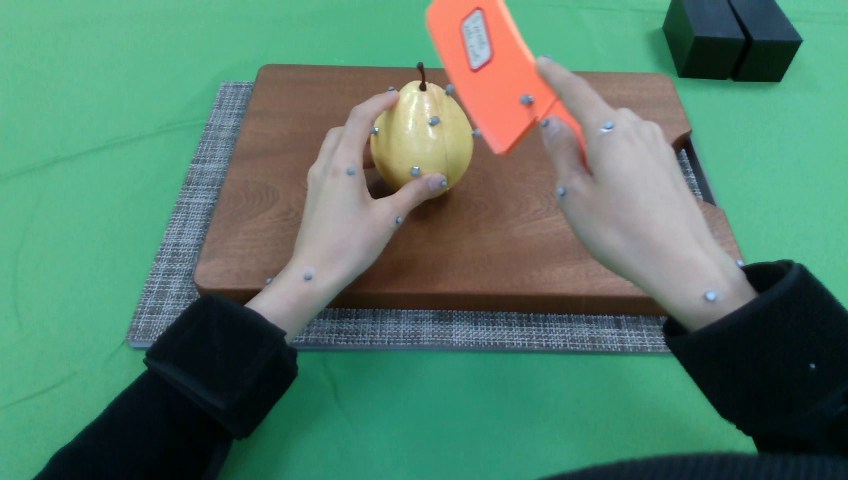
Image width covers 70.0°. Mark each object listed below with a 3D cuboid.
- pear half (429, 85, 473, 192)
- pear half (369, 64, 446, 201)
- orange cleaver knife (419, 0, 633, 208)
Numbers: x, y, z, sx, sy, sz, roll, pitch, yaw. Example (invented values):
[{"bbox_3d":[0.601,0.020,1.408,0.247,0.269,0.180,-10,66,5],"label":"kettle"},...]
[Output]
[{"bbox_3d":[0.021,-0.080,0.465,0.031,0.089,0.069,-15,48,-12],"label":"pear half"},{"bbox_3d":[-0.014,-0.081,0.451,0.056,0.111,0.075,-14,47,-12],"label":"pear half"},{"bbox_3d":[0.052,-0.092,0.382,0.012,0.077,0.209,-10,59,-36],"label":"orange cleaver knife"}]
